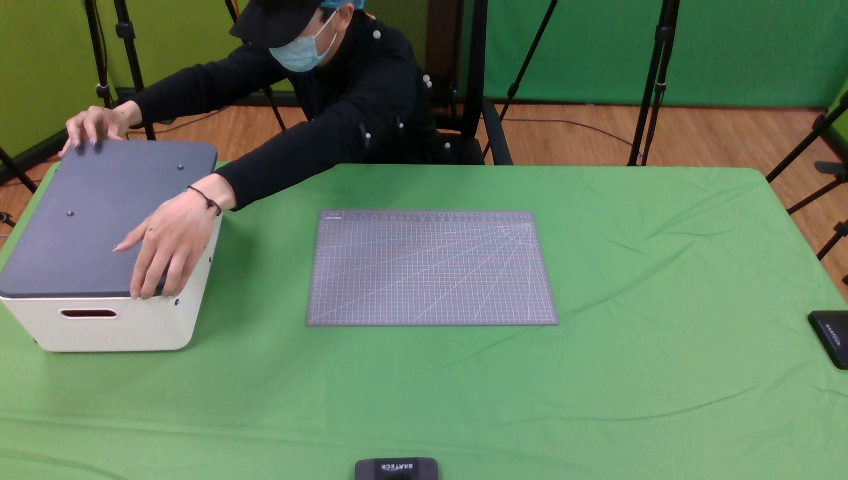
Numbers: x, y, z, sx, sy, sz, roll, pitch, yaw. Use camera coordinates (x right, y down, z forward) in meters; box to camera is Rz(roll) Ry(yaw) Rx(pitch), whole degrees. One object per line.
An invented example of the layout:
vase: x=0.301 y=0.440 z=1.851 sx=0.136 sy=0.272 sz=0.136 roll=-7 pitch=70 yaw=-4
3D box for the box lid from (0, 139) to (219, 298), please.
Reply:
box lid: x=-0.500 y=-0.052 z=1.001 sx=0.263 sy=0.015 sz=0.369 roll=0 pitch=46 yaw=-6

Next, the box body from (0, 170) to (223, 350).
box body: x=-0.510 y=0.008 z=1.054 sx=0.254 sy=0.161 sz=0.361 roll=-1 pitch=47 yaw=-5
